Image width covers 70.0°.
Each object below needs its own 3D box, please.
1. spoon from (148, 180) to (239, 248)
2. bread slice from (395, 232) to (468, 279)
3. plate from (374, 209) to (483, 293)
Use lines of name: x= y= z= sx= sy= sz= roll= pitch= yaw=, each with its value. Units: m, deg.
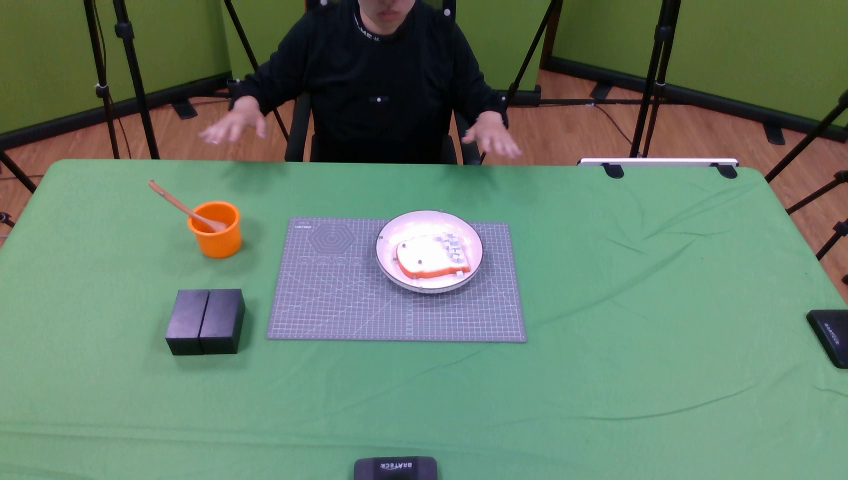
spoon: x=-0.422 y=-0.047 z=1.116 sx=0.195 sy=0.021 sz=0.041 roll=36 pitch=42 yaw=-25
bread slice: x=0.011 y=0.030 z=1.158 sx=0.132 sy=0.019 sz=0.104 roll=-8 pitch=47 yaw=-14
plate: x=0.009 y=0.024 z=1.160 sx=0.209 sy=0.038 sz=0.208 roll=2 pitch=46 yaw=-2
